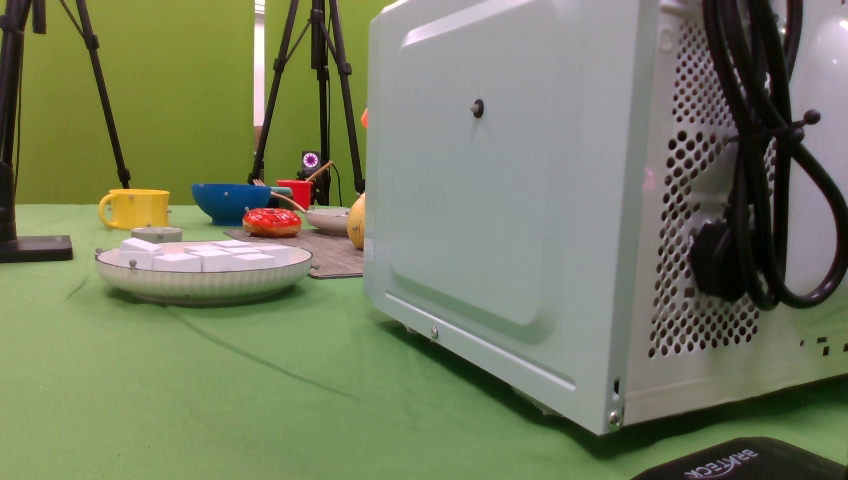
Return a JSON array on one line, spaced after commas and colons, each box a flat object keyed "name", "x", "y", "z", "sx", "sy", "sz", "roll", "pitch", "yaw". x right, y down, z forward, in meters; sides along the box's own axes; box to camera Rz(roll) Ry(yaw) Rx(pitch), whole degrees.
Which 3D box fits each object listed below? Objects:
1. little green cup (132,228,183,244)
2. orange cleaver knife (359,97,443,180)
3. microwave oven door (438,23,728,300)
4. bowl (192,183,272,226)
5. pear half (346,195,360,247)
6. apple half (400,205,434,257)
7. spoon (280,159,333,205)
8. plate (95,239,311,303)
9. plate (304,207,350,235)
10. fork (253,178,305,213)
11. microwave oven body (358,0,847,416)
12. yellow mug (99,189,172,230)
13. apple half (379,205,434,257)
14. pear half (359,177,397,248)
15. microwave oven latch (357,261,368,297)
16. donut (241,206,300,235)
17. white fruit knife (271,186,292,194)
[{"name": "little green cup", "x": -0.342, "y": 0.006, "z": 0.779, "sx": 0.061, "sy": 0.038, "sz": 0.061, "roll": 2, "pitch": 8, "yaw": 0}, {"name": "orange cleaver knife", "x": -0.031, "y": -0.142, "z": 0.951, "sx": 0.012, "sy": 0.077, "sz": 0.212, "roll": -16, "pitch": -37, "yaw": 31}, {"name": "microwave oven door", "x": 0.181, "y": -0.073, "z": 0.621, "sx": 0.358, "sy": 0.243, "sz": 0.039, "roll": -2, "pitch": 8, "yaw": -29}, {"name": "bowl", "x": -0.381, "y": -0.071, "z": 1.202, "sx": 0.151, "sy": 0.077, "sz": 0.151, "roll": 3, "pitch": 7, "yaw": 0}, {"name": "pear half", "x": -0.104, "y": -0.033, "z": 0.926, "sx": 0.031, "sy": 0.088, "sz": 0.070, "roll": 2, "pitch": 12, "yaw": -2}, {"name": "apple half", "x": -0.004, "y": -0.014, "z": 0.873, "sx": 0.033, "sy": 0.081, "sz": 0.081, "roll": -7, "pitch": 11, "yaw": -29}, {"name": "spoon", "x": -0.316, "y": -0.159, "z": 1.639, "sx": 0.194, "sy": 0.022, "sz": 0.041, "roll": -49, "pitch": 32, "yaw": -20}, {"name": "plate", "x": -0.224, "y": 0.031, "z": 0.629, "sx": 0.208, "sy": 0.039, "sz": 0.207, "roll": 2, "pitch": 7, "yaw": 0}, {"name": "plate", "x": -0.123, "y": -0.037, "z": 1.149, "sx": 0.209, "sy": 0.038, "sz": 0.209, "roll": 2, "pitch": 7, "yaw": 0}, {"name": "fork", "x": -0.294, "y": -0.084, "z": 1.293, "sx": 0.206, "sy": 0.018, "sz": 0.028, "roll": 29, "pitch": 12, "yaw": 26}, {"name": "microwave oven body", "x": 0.211, "y": -0.047, "z": 0.475, "sx": 0.444, "sy": 0.260, "sz": 0.324, "roll": -1, "pitch": 7, "yaw": -28}, {"name": "yellow mug", "x": -0.518, "y": -0.055, "z": 1.080, "sx": 0.099, "sy": 0.064, "sz": 0.131, "roll": 7, "pitch": 10, "yaw": 26}, {"name": "apple half", "x": -0.030, "y": -0.013, "z": 0.863, "sx": 0.080, "sy": 0.074, "sz": 0.053, "roll": 10, "pitch": 11, "yaw": 15}, {"name": "pear half", "x": -0.068, "y": -0.041, "z": 0.924, "sx": 0.056, "sy": 0.110, "sz": 0.076, "roll": 2, "pitch": 10, "yaw": -2}, {"name": "microwave oven latch", "x": -0.019, "y": 0.033, "z": 0.531, "sx": 0.079, "sy": 0.029, "sz": 0.030, "roll": -1, "pitch": 7, "yaw": -27}, {"name": "donut", "x": -0.263, "y": -0.032, "z": 1.039, "sx": 0.099, "sy": 0.048, "sz": 0.099, "roll": 4, "pitch": 10, "yaw": 0}, {"name": "white fruit knife", "x": -0.399, "y": -0.111, "z": 1.368, "sx": 0.208, "sy": 0.016, "sz": 0.027, "roll": -4, "pitch": -19, "yaw": -29}]
